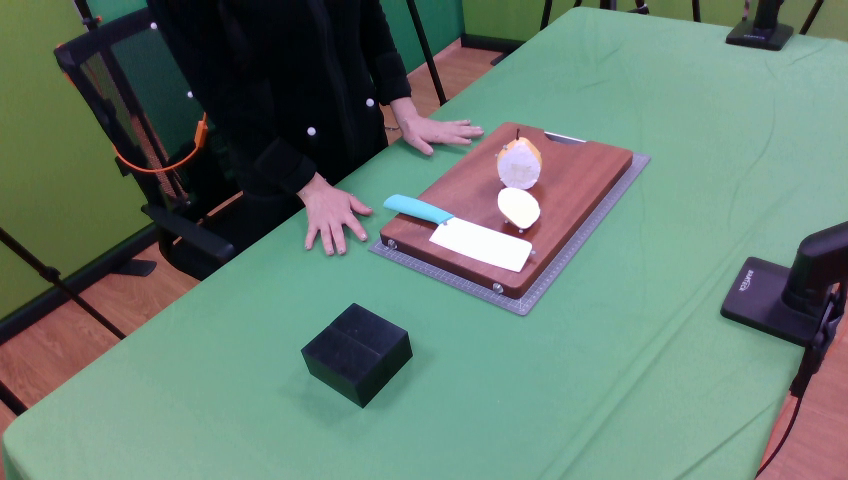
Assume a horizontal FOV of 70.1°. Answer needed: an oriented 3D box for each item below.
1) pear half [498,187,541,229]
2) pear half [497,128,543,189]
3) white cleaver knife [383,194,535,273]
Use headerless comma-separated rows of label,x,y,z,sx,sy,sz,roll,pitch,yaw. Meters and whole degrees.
pear half,0.149,-0.045,0.957,0.070,0.031,0.087,4,53,-9
pear half,0.162,-0.145,1.014,0.076,0.110,0.056,2,41,8
white cleaver knife,0.043,-0.016,0.953,0.284,0.022,0.066,21,59,33
